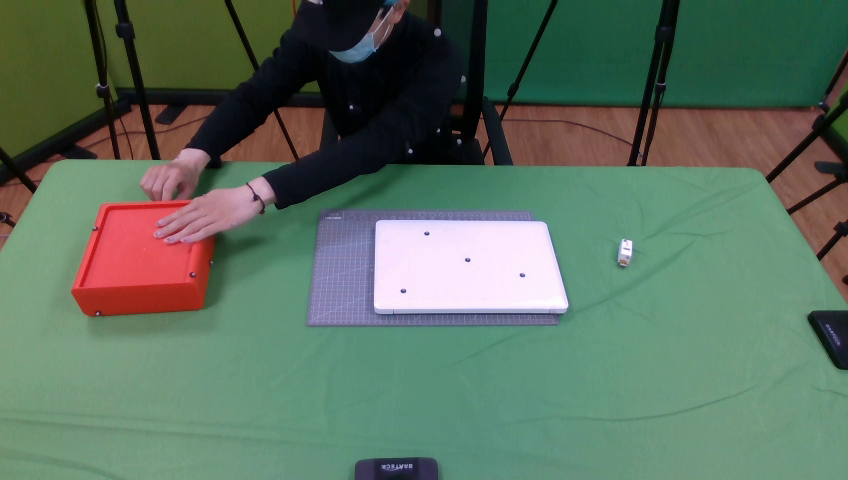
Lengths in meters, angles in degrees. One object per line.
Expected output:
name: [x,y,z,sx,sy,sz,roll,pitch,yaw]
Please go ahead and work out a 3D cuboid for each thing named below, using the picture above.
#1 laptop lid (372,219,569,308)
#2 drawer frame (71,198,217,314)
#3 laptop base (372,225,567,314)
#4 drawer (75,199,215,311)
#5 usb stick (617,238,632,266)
laptop lid: [0.081,0.039,1.152,0.357,0.013,0.240,2,44,-3]
drawer frame: [-0.493,0.023,1.096,0.202,0.083,0.212,-3,47,-8]
laptop base: [0.080,0.049,1.159,0.355,0.023,0.234,0,43,-4]
drawer: [-0.494,0.023,1.098,0.195,0.073,0.210,-2,47,-8]
usb stick: [0.397,0.025,1.200,0.021,0.027,0.059,16,50,9]
